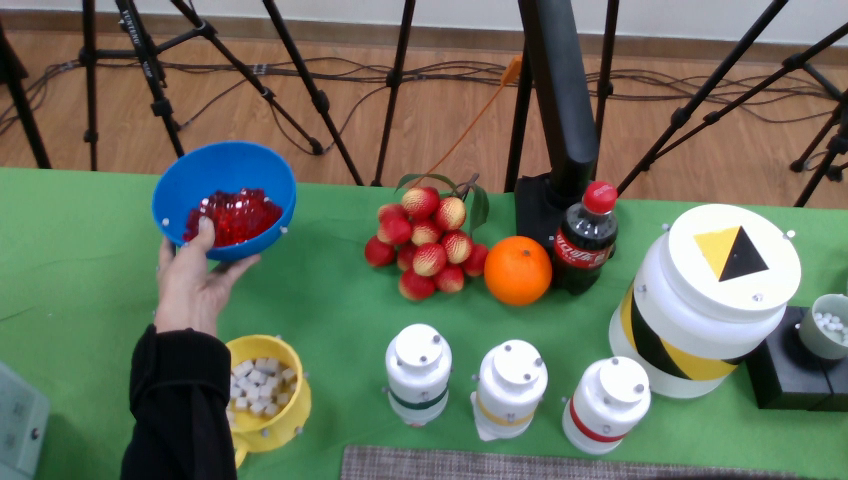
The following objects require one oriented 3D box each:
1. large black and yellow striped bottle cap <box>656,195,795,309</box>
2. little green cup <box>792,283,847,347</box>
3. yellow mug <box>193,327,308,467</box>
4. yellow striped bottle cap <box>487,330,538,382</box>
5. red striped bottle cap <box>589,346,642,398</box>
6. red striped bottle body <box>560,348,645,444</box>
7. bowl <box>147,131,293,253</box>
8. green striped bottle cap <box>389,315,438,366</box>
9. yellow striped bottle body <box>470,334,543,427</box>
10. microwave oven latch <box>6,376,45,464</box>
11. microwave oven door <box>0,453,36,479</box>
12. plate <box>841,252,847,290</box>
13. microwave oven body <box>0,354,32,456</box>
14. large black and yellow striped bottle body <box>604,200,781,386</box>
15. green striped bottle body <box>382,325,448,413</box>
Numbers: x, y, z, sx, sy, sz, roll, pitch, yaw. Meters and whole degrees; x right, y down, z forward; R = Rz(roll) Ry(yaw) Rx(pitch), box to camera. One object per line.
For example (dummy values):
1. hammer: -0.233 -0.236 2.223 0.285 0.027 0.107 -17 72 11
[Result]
1. large black and yellow striped bottle cap: 0.268 0.008 0.540 0.115 0.019 0.114 1 54 0
2. little green cup: 0.416 0.079 0.625 0.061 0.039 0.061 2 54 -2
3. yellow mug: -0.175 0.158 0.599 0.100 0.064 0.130 11 56 6
4. yellow striped bottle cap: 0.080 0.104 0.547 0.044 0.019 0.044 1 56 -1
5. red striped bottle cap: 0.171 0.117 0.540 0.044 0.018 0.044 3 54 -4
6. red striped bottle body: 0.172 0.148 0.583 0.063 0.121 0.062 0 54 1
7. bowl: -0.217 -0.040 0.679 0.151 0.077 0.150 1 58 -1
8. green striped bottle cap: -0.010 0.091 0.553 0.044 0.020 0.044 2 55 -3
9. yellow striped bottle body: 0.079 0.133 0.589 0.063 0.121 0.062 0 55 0
10. microwave oven latch: -0.387 0.172 0.577 0.030 0.030 0.078 -4 56 -4
11. microwave oven door: -0.361 0.294 0.372 0.039 0.246 0.352 -6 56 -3
12. plate: 0.583 0.075 0.694 0.209 0.038 0.207 1 56 -1
13. microwave oven body: -0.513 0.274 0.387 0.326 0.262 0.437 -5 56 -5
14. large black and yellow striped bottle body: 0.268 0.055 0.610 0.131 0.185 0.129 1 55 -1
15. green striped bottle body: -0.009 0.122 0.596 0.063 0.120 0.062 0 55 0
